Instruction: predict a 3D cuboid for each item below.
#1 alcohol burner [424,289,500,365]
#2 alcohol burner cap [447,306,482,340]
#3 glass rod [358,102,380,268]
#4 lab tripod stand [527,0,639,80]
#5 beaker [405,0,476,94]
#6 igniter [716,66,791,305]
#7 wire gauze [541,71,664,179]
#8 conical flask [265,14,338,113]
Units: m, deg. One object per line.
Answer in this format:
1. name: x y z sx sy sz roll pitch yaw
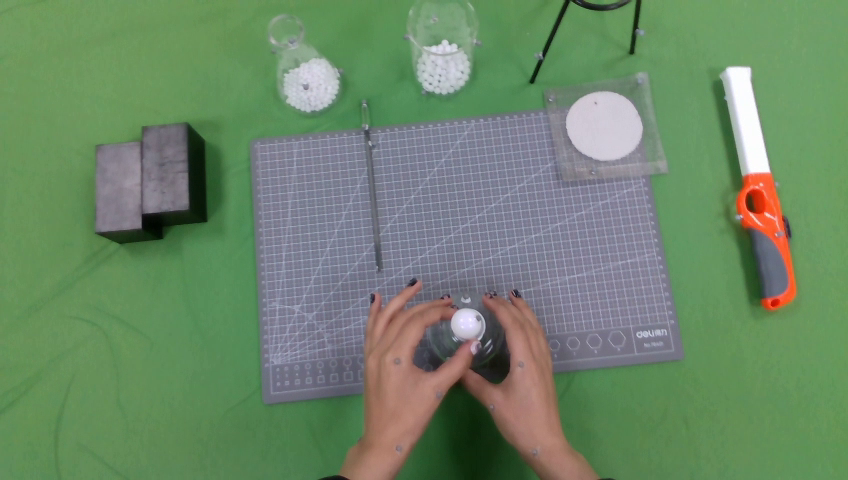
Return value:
1. alcohol burner: 0.039 0.085 0.601 0.078 0.119 0.077 0 79 1
2. alcohol burner cap: 0.036 0.075 0.559 0.034 0.048 0.033 -1 78 7
3. glass rod: -0.062 -0.065 0.687 0.008 0.008 0.198 -7 78 -1
4. lab tripod stand: 0.173 -0.254 0.664 0.148 0.132 0.148 0 80 1
5. beaker: 0.017 -0.217 0.676 0.074 0.100 0.083 -4 77 0
6. igniter: 0.366 -0.065 0.675 0.057 0.025 0.275 -2 78 -10
7. wire gauze: 0.205 -0.131 0.699 0.125 0.011 0.121 -7 78 -1
8. conical flask: -0.139 -0.196 0.661 0.075 0.122 0.075 0 77 1
